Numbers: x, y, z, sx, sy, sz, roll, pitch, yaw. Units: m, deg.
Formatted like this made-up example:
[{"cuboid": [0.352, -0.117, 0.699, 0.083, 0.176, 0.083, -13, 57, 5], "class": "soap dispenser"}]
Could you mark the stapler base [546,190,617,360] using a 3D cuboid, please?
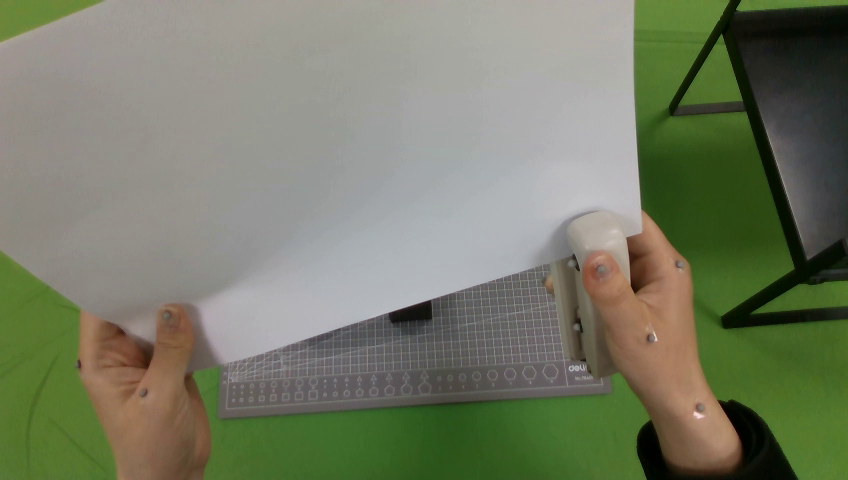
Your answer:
[{"cuboid": [0.102, 0.031, 0.369, 0.041, 0.132, 0.024, -14, 37, 4], "class": "stapler base"}]

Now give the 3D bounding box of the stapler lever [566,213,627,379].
[{"cuboid": [0.105, 0.038, 0.358, 0.027, 0.119, 0.040, -14, 25, 4], "class": "stapler lever"}]
